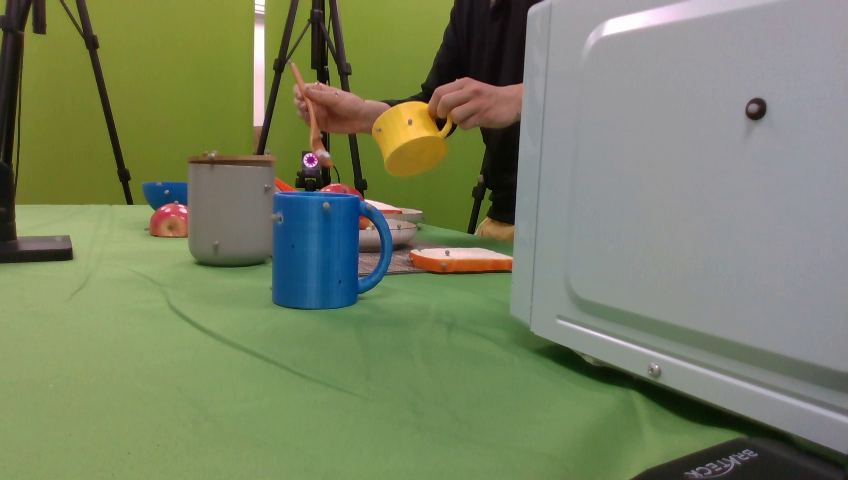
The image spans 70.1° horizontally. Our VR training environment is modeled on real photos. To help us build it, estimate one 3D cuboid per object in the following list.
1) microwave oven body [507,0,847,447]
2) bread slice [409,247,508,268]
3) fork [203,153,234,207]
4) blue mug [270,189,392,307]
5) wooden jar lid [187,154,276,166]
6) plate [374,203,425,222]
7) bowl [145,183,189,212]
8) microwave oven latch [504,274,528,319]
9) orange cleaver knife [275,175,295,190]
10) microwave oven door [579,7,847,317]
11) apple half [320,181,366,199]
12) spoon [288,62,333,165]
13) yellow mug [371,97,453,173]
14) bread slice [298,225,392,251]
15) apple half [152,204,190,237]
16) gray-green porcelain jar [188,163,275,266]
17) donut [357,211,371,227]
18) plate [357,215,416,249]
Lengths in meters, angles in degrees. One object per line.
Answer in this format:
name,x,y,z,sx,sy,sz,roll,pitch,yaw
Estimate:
microwave oven body,0.331,-0.042,0.425,0.444,0.260,0.324,-2,8,-31
bread slice,0.048,0.022,0.816,0.132,0.019,0.104,1,6,-24
fork,-0.480,-0.135,1.411,0.028,0.018,0.207,1,-34,0
blue mug,-0.090,0.005,0.588,0.117,0.106,0.082,1,7,-11
wooden jar lid,-0.244,-0.097,0.771,0.108,0.020,0.108,-1,7,0
plate,-0.102,-0.053,1.299,0.209,0.038,0.209,2,8,0
bowl,-0.459,-0.068,1.175,0.151,0.077,0.151,2,7,0
microwave oven latch,0.100,0.041,0.471,0.079,0.029,0.030,-1,7,-27
orange cleaver knife,-0.283,-0.087,1.343,0.212,0.077,0.012,24,-16,-41
microwave oven door,0.294,-0.067,0.570,0.358,0.243,0.039,-3,9,-31
apple half,-0.129,-0.077,0.951,0.081,0.033,0.081,3,13,0
spoon,-0.181,-0.202,0.958,0.021,0.193,0.042,-24,-17,22
yellow mug,-0.010,-0.163,0.897,0.130,0.064,0.100,-32,-25,27
bread slice,-0.119,-0.005,0.970,0.106,0.018,0.135,4,13,41
apple half,-0.415,-0.034,1.017,0.081,0.053,0.074,1,10,-9
gray-green porcelain jar,-0.246,-0.034,0.779,0.106,0.126,0.106,1,7,0
donut,-0.132,-0.041,0.959,0.099,0.048,0.099,2,7,0
plate,-0.116,-0.014,0.967,0.208,0.039,0.207,2,7,0
